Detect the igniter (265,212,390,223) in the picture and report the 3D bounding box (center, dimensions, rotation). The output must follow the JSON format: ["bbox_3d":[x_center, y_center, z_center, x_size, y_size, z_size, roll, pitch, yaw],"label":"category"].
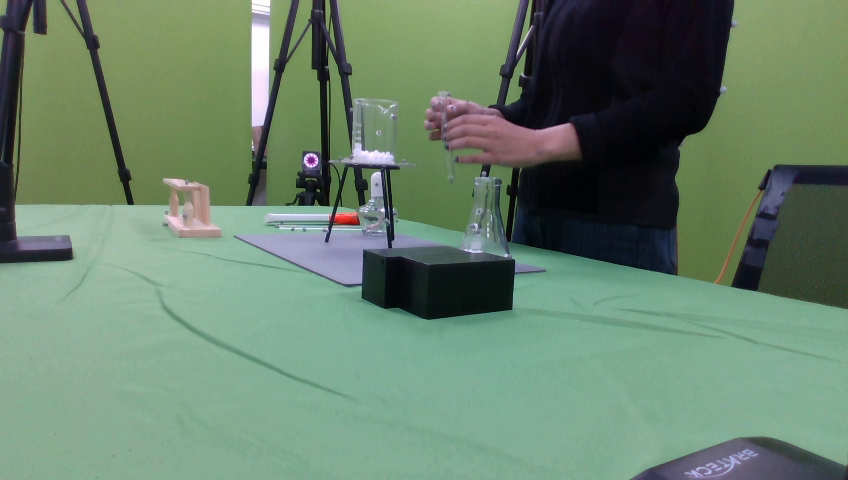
[{"bbox_3d":[-0.196,-0.048,1.285,0.278,0.025,0.057,-2,-2,-30],"label":"igniter"}]

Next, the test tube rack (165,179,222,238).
[{"bbox_3d":[-0.423,-0.062,1.098,0.067,0.085,0.241,-2,9,-28],"label":"test tube rack"}]

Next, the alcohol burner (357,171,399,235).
[{"bbox_3d":[-0.085,-0.069,1.125,0.078,0.119,0.078,3,10,0],"label":"alcohol burner"}]

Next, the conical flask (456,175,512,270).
[{"bbox_3d":[0.082,-0.025,0.801,0.075,0.122,0.075,2,7,0],"label":"conical flask"}]

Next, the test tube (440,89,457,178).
[{"bbox_3d":[0.042,-0.181,1.029,0.017,0.150,0.017,-6,2,1],"label":"test tube"}]

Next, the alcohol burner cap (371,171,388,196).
[{"bbox_3d":[-0.085,-0.104,1.120,0.034,0.048,0.034,-4,8,1],"label":"alcohol burner cap"}]

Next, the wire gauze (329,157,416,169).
[{"bbox_3d":[-0.079,-0.125,0.972,0.121,0.011,0.125,6,6,5],"label":"wire gauze"}]

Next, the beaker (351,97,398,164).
[{"bbox_3d":[-0.078,-0.172,0.962,0.074,0.100,0.084,6,8,19],"label":"beaker"}]

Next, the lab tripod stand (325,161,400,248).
[{"bbox_3d":[-0.083,-0.059,0.977,0.148,0.131,0.148,4,8,0],"label":"lab tripod stand"}]

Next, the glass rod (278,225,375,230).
[{"bbox_3d":[-0.186,-0.024,1.178,0.201,0.008,0.008,1,6,-31],"label":"glass rod"}]
